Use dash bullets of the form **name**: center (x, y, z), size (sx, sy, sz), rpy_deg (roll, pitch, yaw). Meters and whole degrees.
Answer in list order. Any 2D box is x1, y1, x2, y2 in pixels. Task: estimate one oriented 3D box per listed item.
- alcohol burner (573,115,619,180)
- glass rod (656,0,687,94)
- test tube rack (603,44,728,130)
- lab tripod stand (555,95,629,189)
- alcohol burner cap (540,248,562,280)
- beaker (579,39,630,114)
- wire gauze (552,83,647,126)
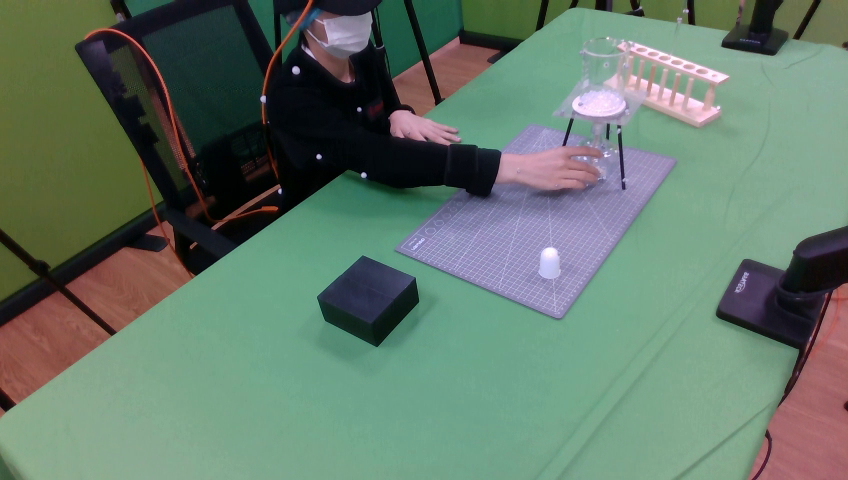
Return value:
- **alcohol burner**: center (0.300, -0.163, 1.048), size (0.078, 0.119, 0.077), rpy_deg (-3, 40, 3)
- **glass rod**: center (0.491, -0.381, 1.199), size (0.008, 0.200, 0.008), rpy_deg (1, 41, 0)
- **test tube rack**: center (0.480, -0.316, 1.227), size (0.067, 0.085, 0.240), rpy_deg (-28, 44, -22)
- **lab tripod stand**: center (0.300, -0.174, 1.045), size (0.148, 0.132, 0.147), rpy_deg (-5, 38, 5)
- **alcohol burner cap**: center (0.187, 0.032, 0.888), size (0.034, 0.048, 0.033), rpy_deg (-4, 40, 4)
- **beaker**: center (0.289, -0.263, 0.975), size (0.073, 0.101, 0.084), rpy_deg (17, 45, 27)
- **wire gauze**: center (0.293, -0.224, 1.004), size (0.120, 0.011, 0.125), rpy_deg (19, 43, 26)
